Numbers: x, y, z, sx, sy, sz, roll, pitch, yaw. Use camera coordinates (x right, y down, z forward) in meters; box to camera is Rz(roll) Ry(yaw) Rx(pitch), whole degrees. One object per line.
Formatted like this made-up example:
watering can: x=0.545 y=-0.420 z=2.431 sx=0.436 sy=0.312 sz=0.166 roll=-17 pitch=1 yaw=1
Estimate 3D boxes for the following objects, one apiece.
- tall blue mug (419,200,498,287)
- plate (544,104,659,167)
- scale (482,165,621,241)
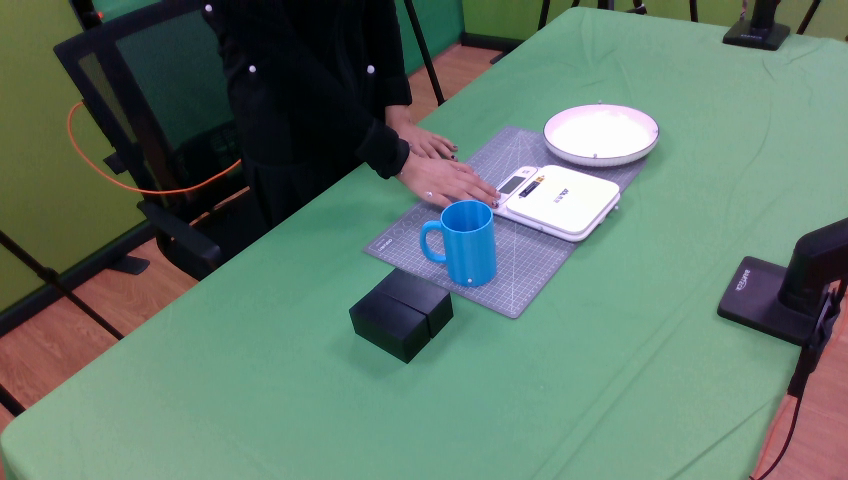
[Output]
tall blue mug: x=0.053 y=0.010 z=0.889 sx=0.107 sy=0.108 sz=0.077 roll=-16 pitch=41 yaw=-7
plate: x=0.328 y=-0.192 z=1.131 sx=0.209 sy=0.038 sz=0.208 roll=-4 pitch=39 yaw=4
scale: x=0.211 y=-0.070 z=1.014 sx=0.199 sy=0.032 sz=0.149 roll=23 pitch=49 yaw=33
